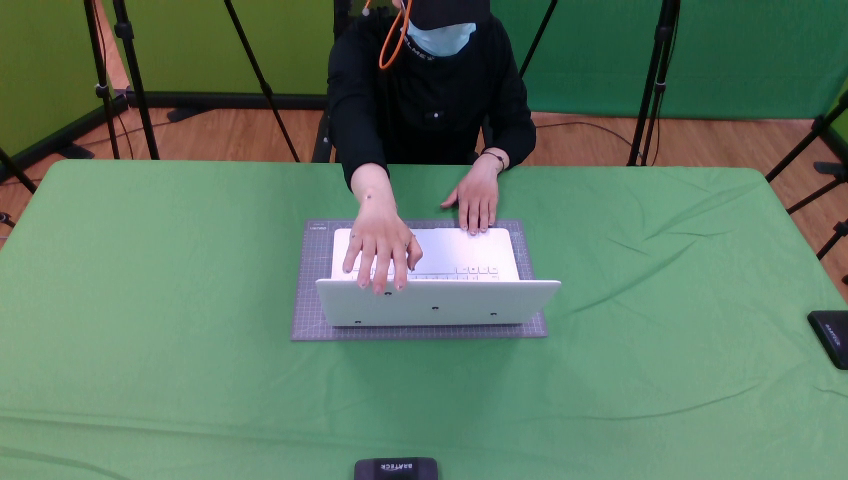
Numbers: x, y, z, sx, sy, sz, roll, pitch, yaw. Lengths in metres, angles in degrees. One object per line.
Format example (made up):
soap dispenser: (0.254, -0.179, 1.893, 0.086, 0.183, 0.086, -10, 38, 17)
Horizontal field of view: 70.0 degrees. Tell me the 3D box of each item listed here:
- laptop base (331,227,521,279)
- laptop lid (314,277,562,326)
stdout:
laptop base: (0.005, 0.061, 1.137, 0.355, 0.023, 0.234, 0, 43, -4)
laptop lid: (0.017, 0.101, 0.948, 0.357, 0.242, 0.013, 0, 67, -5)
